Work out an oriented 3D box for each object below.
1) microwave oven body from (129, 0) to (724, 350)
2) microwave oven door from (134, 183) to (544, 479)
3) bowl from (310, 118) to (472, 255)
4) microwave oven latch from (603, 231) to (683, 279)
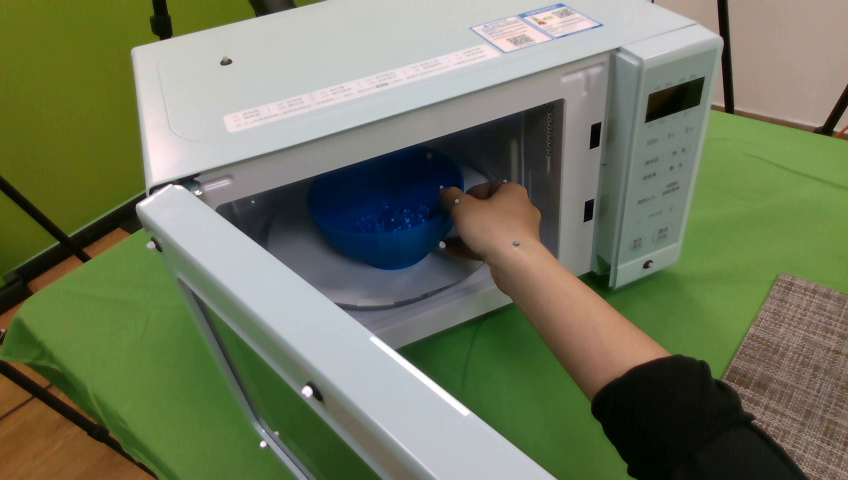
[{"bbox_3d":[-0.012,-0.086,0.608,0.442,0.263,0.322,-21,42,-13],"label":"microwave oven body"},{"bbox_3d":[-0.035,0.128,0.348,0.039,0.246,0.352,-36,47,-29],"label":"microwave oven door"},{"bbox_3d":[-0.027,-0.038,0.583,0.151,0.077,0.150,-3,52,4],"label":"bowl"},{"bbox_3d":[0.219,0.010,0.606,0.079,0.030,0.030,-19,42,-12],"label":"microwave oven latch"}]
